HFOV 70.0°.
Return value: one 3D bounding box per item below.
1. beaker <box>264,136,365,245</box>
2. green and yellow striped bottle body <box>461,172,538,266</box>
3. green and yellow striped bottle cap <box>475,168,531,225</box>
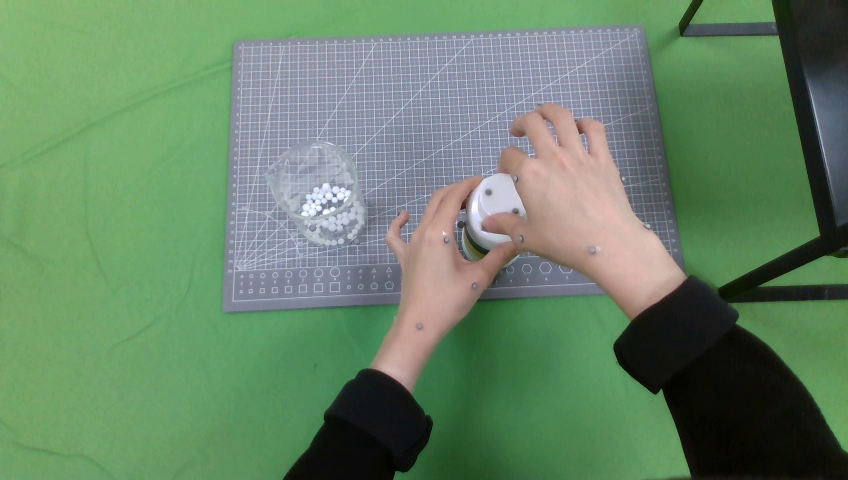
[{"bbox_3d":[-0.096,-0.041,0.563,0.084,0.101,0.073,8,73,3],"label":"beaker"},{"bbox_3d":[0.066,-0.020,0.546,0.063,0.120,0.063,0,74,1],"label":"green and yellow striped bottle body"},{"bbox_3d":[0.065,-0.036,0.495,0.045,0.020,0.045,0,75,-1],"label":"green and yellow striped bottle cap"}]
